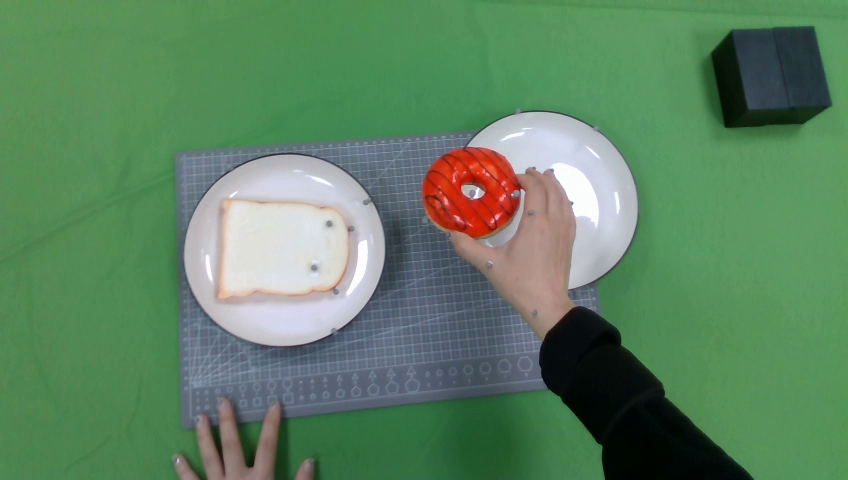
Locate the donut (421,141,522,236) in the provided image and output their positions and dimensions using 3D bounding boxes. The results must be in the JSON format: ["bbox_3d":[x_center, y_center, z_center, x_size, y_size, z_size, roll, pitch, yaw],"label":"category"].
[{"bbox_3d":[0.046,-0.051,0.587,0.099,0.048,0.098,-1,70,4],"label":"donut"}]

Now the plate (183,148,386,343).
[{"bbox_3d":[-0.144,0.006,0.642,0.209,0.038,0.208,1,78,-4],"label":"plate"}]

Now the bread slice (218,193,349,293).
[{"bbox_3d":[-0.148,0.002,0.644,0.134,0.018,0.106,-2,79,-4],"label":"bread slice"}]

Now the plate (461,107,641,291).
[{"bbox_3d":[0.132,-0.045,0.670,0.208,0.039,0.206,1,77,-3],"label":"plate"}]
